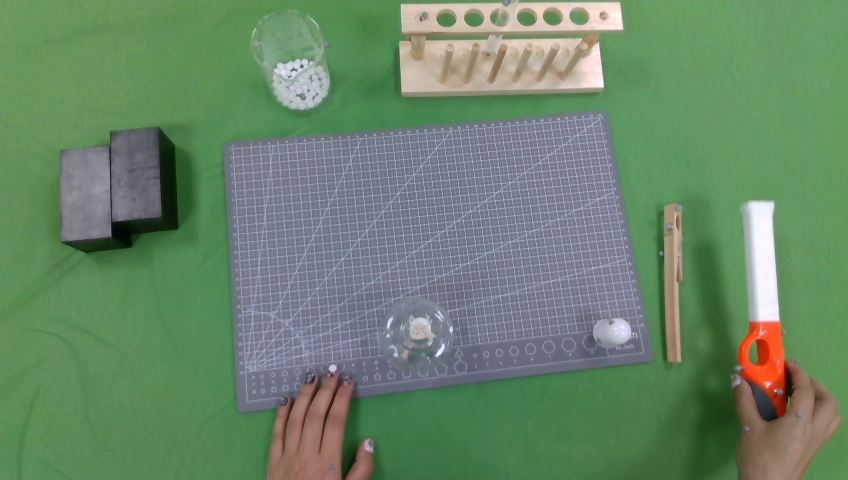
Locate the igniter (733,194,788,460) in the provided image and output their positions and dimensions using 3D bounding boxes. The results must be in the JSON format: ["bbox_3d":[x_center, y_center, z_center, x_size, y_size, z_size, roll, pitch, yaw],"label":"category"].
[{"bbox_3d":[0.352,0.089,0.639,0.057,0.025,0.276,1,85,-8],"label":"igniter"}]

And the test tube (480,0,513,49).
[{"bbox_3d":[0.081,-0.246,0.647,0.017,0.150,0.017,1,79,-7],"label":"test tube"}]

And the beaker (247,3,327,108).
[{"bbox_3d":[-0.145,-0.194,0.664,0.074,0.100,0.083,-3,79,-5],"label":"beaker"}]

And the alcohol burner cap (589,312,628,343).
[{"bbox_3d":[0.201,0.093,0.655,0.034,0.048,0.033,1,77,-4],"label":"alcohol burner cap"}]

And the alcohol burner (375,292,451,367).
[{"bbox_3d":[-0.009,0.087,0.605,0.078,0.119,0.077,1,77,-5],"label":"alcohol burner"}]

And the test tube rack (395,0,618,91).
[{"bbox_3d":[0.090,-0.223,0.694,0.243,0.085,0.066,-2,79,-5],"label":"test tube rack"}]

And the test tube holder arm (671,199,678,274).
[{"bbox_3d":[0.284,-0.004,0.698,0.010,0.015,0.087,13,75,-37],"label":"test tube holder arm"}]

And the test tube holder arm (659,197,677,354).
[{"bbox_3d":[0.276,0.039,0.686,0.013,0.015,0.177,12,77,-37],"label":"test tube holder arm"}]
